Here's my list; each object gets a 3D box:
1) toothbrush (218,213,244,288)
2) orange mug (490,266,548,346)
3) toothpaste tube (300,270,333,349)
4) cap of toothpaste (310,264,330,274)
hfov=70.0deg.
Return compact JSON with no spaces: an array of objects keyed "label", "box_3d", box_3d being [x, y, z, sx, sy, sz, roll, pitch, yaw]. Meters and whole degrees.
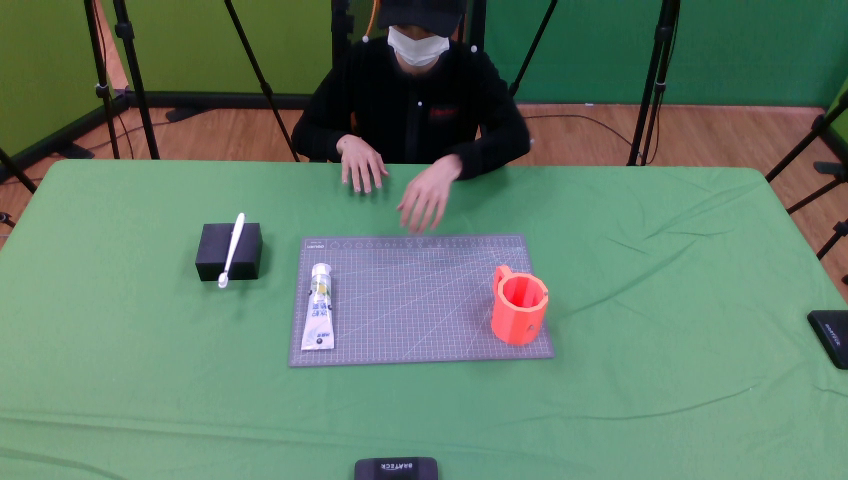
[{"label":"toothbrush","box_3d":[-0.347,0.013,1.094,0.014,0.017,0.180,-1,46,0]},{"label":"orange mug","box_3d":[0.155,0.107,1.051,0.083,0.101,0.125,-15,53,-18]},{"label":"toothpaste tube","box_3d":[-0.187,0.118,1.062,0.055,0.035,0.164,-6,50,-1]},{"label":"cap of toothpaste","box_3d":[-0.191,0.057,1.111,0.037,0.037,0.011,-2,50,-6]}]
